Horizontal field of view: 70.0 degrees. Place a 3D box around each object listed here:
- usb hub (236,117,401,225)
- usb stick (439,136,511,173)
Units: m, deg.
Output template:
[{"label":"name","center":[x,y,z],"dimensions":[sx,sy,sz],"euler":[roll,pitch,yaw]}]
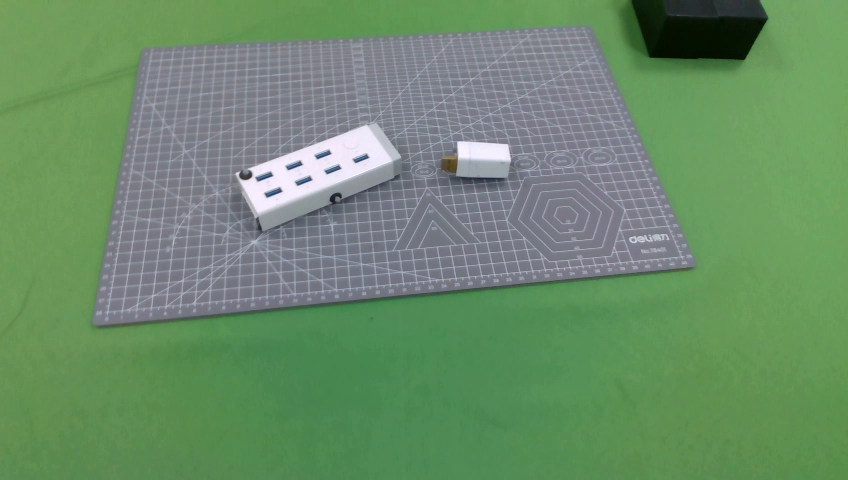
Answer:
[{"label":"usb hub","center":[-0.084,-0.059,0.493],"dimensions":[0.125,0.025,0.049],"euler":[-24,60,-18]},{"label":"usb stick","center":[0.042,-0.072,0.509],"dimensions":[0.059,0.022,0.027],"euler":[0,46,-5]}]
